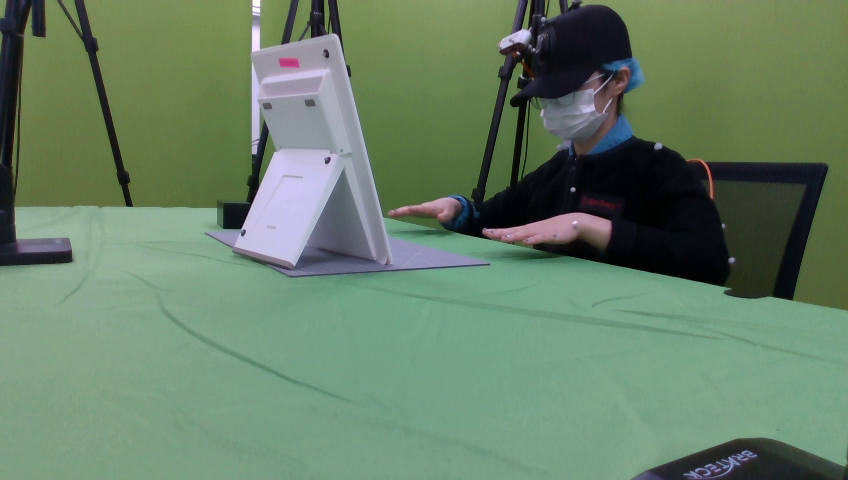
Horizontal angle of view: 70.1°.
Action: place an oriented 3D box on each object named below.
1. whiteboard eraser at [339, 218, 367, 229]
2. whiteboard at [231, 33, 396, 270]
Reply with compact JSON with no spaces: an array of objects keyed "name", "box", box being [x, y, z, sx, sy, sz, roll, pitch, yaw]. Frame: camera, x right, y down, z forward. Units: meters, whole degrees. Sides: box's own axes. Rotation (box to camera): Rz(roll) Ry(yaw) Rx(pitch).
[{"name":"whiteboard eraser","box":[-0.146,-0.036,1.246,0.041,0.019,0.101,2,5,9]},{"name":"whiteboard","box":[-0.193,-0.094,0.805,0.144,0.305,0.216,-29,25,-35]}]
